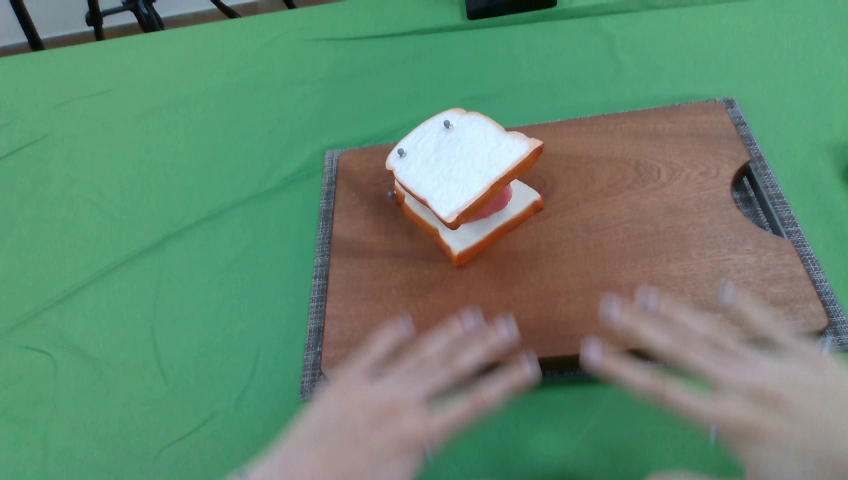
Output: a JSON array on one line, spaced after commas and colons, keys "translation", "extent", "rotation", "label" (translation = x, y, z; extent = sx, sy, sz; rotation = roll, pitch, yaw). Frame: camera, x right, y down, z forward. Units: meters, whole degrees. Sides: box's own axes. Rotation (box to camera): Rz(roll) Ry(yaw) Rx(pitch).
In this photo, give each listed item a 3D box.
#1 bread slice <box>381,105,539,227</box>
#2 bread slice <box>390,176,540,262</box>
[{"translation": [0.021, -0.073, 0.545], "extent": [0.107, 0.018, 0.133], "rotation": [-42, 45, -12], "label": "bread slice"}, {"translation": [0.028, -0.047, 0.579], "extent": [0.105, 0.019, 0.130], "rotation": [-34, 55, -18], "label": "bread slice"}]
